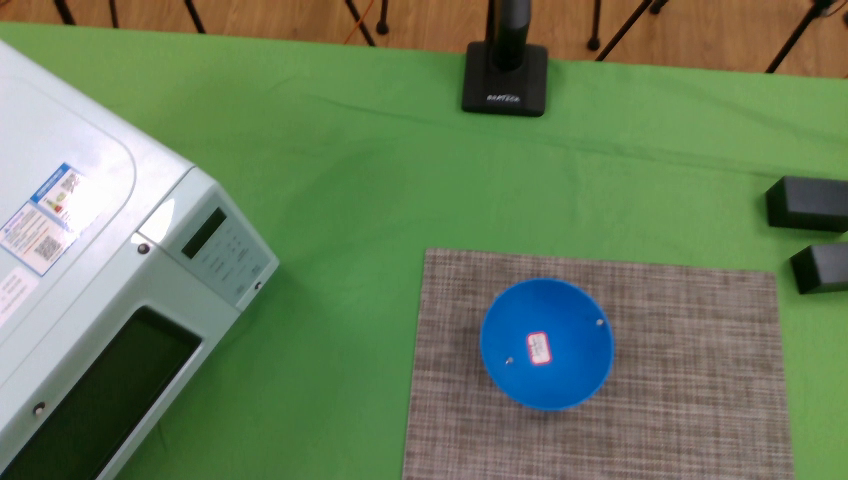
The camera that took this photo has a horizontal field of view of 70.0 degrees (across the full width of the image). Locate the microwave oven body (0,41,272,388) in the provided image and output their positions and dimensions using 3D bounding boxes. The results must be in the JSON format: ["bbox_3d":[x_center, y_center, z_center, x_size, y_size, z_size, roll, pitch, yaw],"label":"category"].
[{"bbox_3d":[-0.441,0.071,0.649,0.325,0.262,0.440,31,74,11],"label":"microwave oven body"}]

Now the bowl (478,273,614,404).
[{"bbox_3d":[0.137,0.121,0.714,0.151,0.077,0.150,0,70,2],"label":"bowl"}]

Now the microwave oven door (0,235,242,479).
[{"bbox_3d":[-0.341,0.176,0.603,0.039,0.245,0.355,31,74,13],"label":"microwave oven door"}]

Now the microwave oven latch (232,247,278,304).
[{"bbox_3d":[-0.217,0.040,0.758,0.030,0.030,0.079,33,75,12],"label":"microwave oven latch"}]
